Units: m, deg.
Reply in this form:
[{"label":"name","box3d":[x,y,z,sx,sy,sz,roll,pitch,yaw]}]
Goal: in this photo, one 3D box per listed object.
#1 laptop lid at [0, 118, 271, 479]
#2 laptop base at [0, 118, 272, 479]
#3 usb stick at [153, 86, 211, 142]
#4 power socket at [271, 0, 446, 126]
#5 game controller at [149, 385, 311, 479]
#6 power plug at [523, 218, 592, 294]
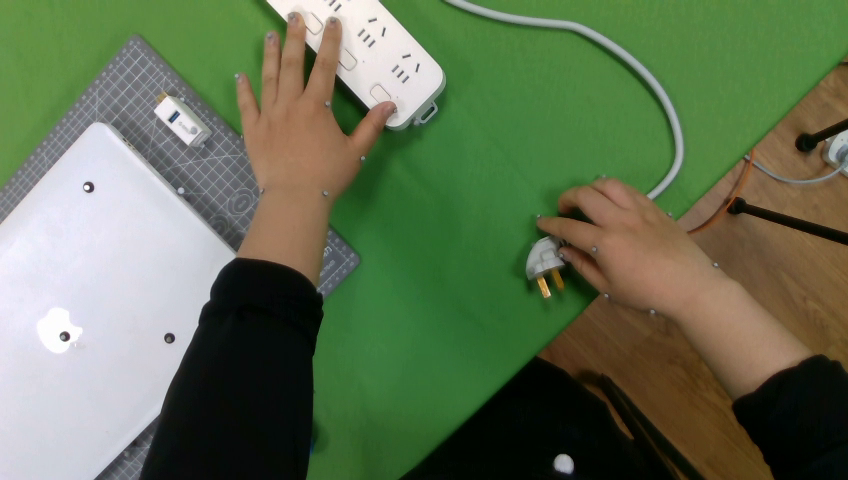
[{"label":"laptop lid","box3d":[-0.345,0.087,0.584,0.357,0.013,0.242,-42,94,8]},{"label":"laptop base","box3d":[-0.345,0.084,0.596,0.354,0.023,0.236,-44,95,8]},{"label":"usb stick","box3d":[-0.227,-0.118,0.557,0.021,0.027,0.059,-44,89,10]},{"label":"power socket","box3d":[-0.073,-0.197,0.535,0.072,0.032,0.227,-43,92,10]},{"label":"game controller","box3d":[-0.194,0.213,0.586,0.155,0.051,0.097,-44,87,7]},{"label":"power plug","box3d":[0.123,0.013,0.540,0.072,0.035,0.052,-26,76,18]}]
